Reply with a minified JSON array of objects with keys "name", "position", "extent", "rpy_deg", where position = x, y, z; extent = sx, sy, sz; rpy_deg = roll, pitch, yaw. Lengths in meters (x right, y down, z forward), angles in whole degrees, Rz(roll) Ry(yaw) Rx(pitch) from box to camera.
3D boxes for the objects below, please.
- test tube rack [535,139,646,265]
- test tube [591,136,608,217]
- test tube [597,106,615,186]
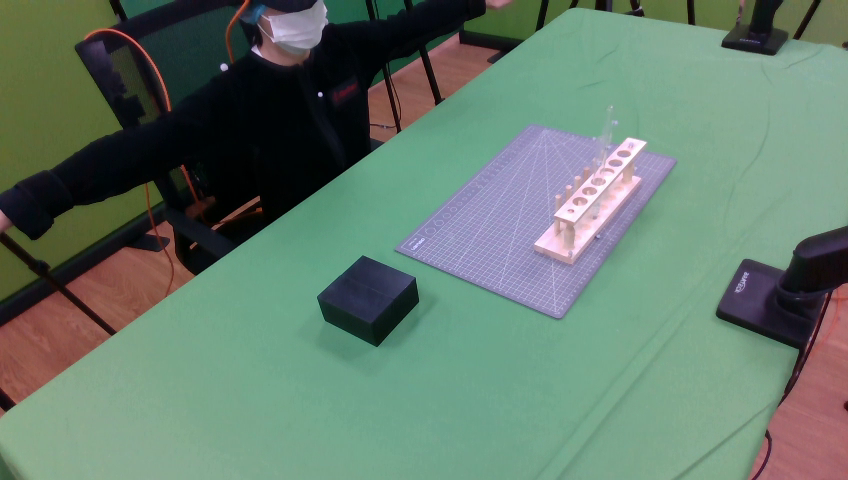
[{"name":"test tube rack","position":[0.269,-0.071,0.964],"extent":[0.066,0.085,0.243],"rpy_deg":[23,49,32]},{"name":"test tube","position":[0.264,-0.092,0.912],"extent":[0.017,0.151,0.017],"rpy_deg":[-5,44,6]},{"name":"test tube","position":[0.295,-0.150,0.984],"extent":[0.017,0.151,0.017],"rpy_deg":[-4,41,4]}]
